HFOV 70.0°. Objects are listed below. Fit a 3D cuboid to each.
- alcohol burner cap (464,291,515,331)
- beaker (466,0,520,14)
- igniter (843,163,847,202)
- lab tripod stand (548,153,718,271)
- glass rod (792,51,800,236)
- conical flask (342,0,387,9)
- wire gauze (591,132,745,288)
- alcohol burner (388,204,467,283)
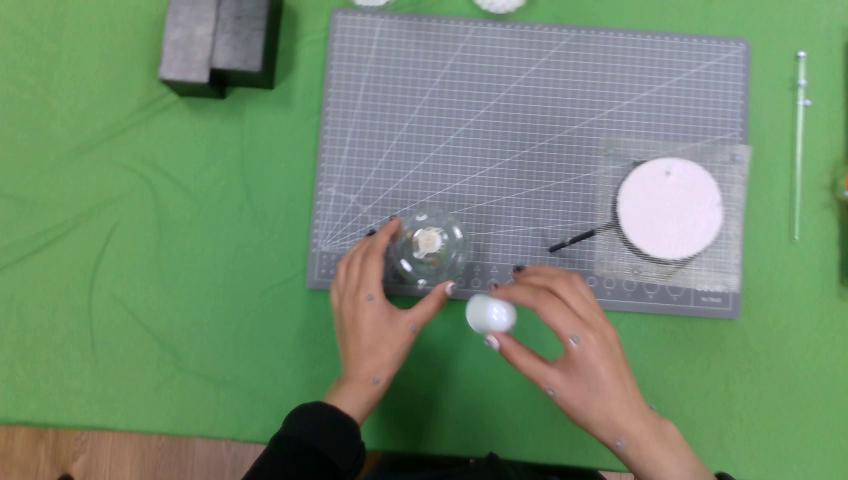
[{"bbox_3d":[0.056,0.057,0.490,0.034,0.048,0.034,2,83,-18],"label":"alcohol burner cap"},{"bbox_3d":[0.076,-0.278,0.607,0.084,0.100,0.074,40,87,2],"label":"beaker"},{"bbox_3d":[0.461,-0.088,0.629,0.057,0.025,0.276,3,86,-10],"label":"igniter"},{"bbox_3d":[0.198,-0.020,0.568,0.148,0.131,0.148,0,87,1],"label":"lab tripod stand"},{"bbox_3d":[0.392,-0.103,0.638,0.008,0.008,0.199,3,85,0],"label":"glass rod"},{"bbox_3d":[-0.063,-0.288,0.596,0.075,0.122,0.075,0,85,0],"label":"conical flask"},{"bbox_3d":[0.201,-0.026,0.501,0.125,0.011,0.121,5,87,2],"label":"wire gauze"},{"bbox_3d":[0.003,0.003,0.576,0.078,0.119,0.078,0,87,0],"label":"alcohol burner"}]
